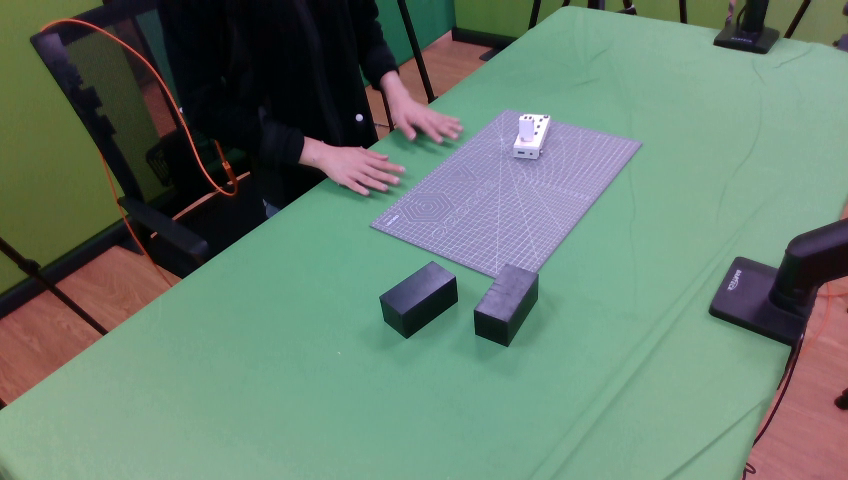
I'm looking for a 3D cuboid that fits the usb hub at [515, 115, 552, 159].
[{"bbox_3d":[0.213,-0.201,1.173,0.049,0.025,0.125,9,43,18],"label":"usb hub"}]

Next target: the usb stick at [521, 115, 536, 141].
[{"bbox_3d":[0.196,-0.203,1.134,0.027,0.059,0.021,8,42,15],"label":"usb stick"}]
